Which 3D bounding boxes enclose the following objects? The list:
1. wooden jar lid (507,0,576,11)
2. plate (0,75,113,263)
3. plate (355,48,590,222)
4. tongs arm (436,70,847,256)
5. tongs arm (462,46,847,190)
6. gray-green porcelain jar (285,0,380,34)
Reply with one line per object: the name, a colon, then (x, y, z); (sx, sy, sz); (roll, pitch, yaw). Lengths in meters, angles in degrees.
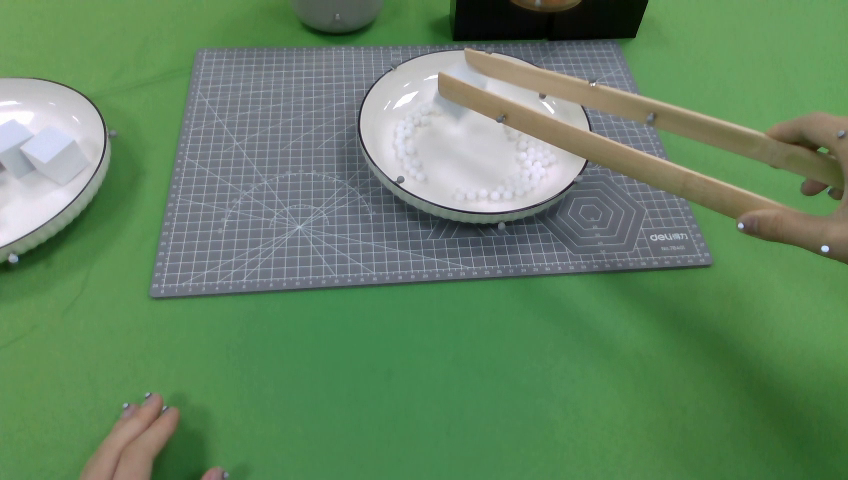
wooden jar lid: (0.121, -0.275, 0.635); (0.108, 0.021, 0.107); (2, 56, -2)
plate: (-0.364, -0.054, 0.501); (0.208, 0.039, 0.205); (2, 55, -2)
plate: (0.043, -0.096, 0.549); (0.209, 0.038, 0.207); (1, 55, -2)
tongs arm: (0.166, -0.056, 0.425); (0.384, 0.028, 0.028); (27, 57, 26)
tongs arm: (0.182, -0.074, 0.437); (0.382, 0.027, 0.050); (24, 59, 24)
gray-green porcelain jar: (-0.098, -0.291, 0.630); (0.106, 0.127, 0.105); (1, 54, -1)
